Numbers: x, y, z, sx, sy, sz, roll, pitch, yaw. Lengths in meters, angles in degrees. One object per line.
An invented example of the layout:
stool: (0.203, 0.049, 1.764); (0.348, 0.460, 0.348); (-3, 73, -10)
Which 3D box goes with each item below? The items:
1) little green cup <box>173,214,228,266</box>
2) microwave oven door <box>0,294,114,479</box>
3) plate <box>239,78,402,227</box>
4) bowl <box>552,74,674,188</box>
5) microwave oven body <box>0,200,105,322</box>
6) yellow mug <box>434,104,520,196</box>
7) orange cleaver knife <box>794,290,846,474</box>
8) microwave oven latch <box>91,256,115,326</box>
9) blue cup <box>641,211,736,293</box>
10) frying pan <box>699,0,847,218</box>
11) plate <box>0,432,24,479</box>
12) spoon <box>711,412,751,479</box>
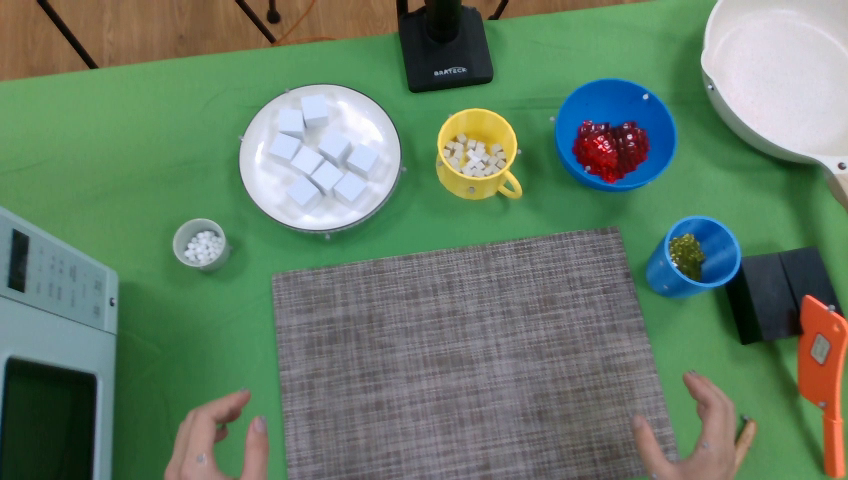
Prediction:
little green cup: (-0.274, 0.002, 0.750); (0.061, 0.039, 0.061); (1, 74, -2)
microwave oven door: (-0.363, 0.240, 0.553); (0.039, 0.245, 0.353); (-5, 73, -3)
plate: (-0.132, -0.112, 0.789); (0.208, 0.039, 0.206); (0, 73, -1)
bowl: (0.233, -0.127, 0.783); (0.151, 0.077, 0.150); (0, 74, -1)
microwave oven body: (-0.512, 0.213, 0.563); (0.326, 0.261, 0.439); (-5, 74, -3)
yellow mug: (0.075, -0.105, 0.778); (0.130, 0.064, 0.100); (43, 77, 10)
orange cleaver knife: (0.454, 0.164, 0.700); (0.012, 0.077, 0.212); (-8, 102, -4)
microwave oven latch: (-0.384, 0.060, 0.712); (0.030, 0.029, 0.078); (-1, 74, -2)
blue cup: (0.307, 0.023, 0.728); (0.093, 0.101, 0.092); (1, 72, -2)
frying pan: (0.517, -0.141, 0.780); (0.307, 0.103, 0.484); (-3, 65, -1)
plate: (-0.498, 0.273, 0.600); (0.209, 0.038, 0.208); (1, 75, -2)
spoon: (0.331, 0.279, 0.693); (0.041, 0.022, 0.193); (33, 75, 20)
